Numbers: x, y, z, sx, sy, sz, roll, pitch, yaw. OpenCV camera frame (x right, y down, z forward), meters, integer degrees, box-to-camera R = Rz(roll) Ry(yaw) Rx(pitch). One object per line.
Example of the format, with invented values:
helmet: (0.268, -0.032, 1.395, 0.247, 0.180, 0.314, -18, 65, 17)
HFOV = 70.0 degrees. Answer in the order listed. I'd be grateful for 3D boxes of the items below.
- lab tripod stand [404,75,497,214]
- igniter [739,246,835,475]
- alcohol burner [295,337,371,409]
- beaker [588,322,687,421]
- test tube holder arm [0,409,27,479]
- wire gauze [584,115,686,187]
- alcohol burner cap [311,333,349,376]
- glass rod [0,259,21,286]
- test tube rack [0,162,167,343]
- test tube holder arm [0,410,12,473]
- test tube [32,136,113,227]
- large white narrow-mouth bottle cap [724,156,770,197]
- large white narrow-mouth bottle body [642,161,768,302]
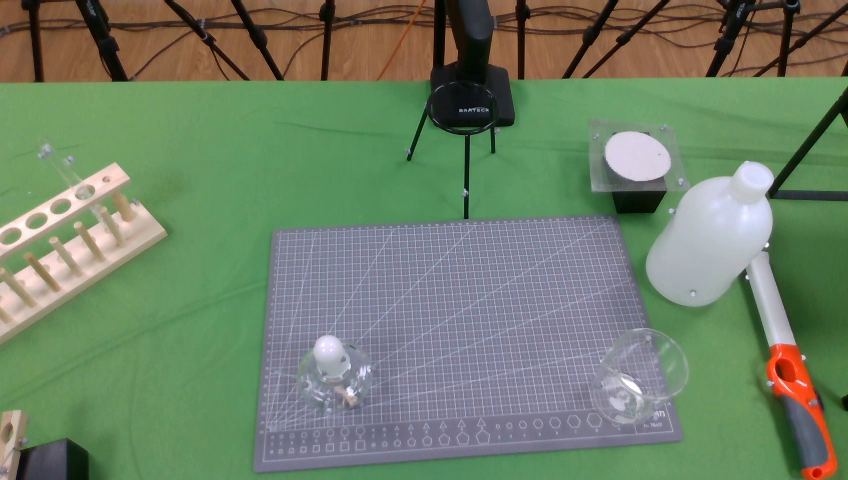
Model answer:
lab tripod stand: (0.043, -0.129, 0.779, 0.148, 0.132, 0.147, 2, 58, -3)
igniter: (0.408, 0.126, 0.692, 0.057, 0.025, 0.274, 7, 56, -10)
alcohol burner: (-0.093, 0.128, 0.616, 0.078, 0.120, 0.077, 2, 55, -3)
beaker: (0.213, 0.141, 0.628, 0.084, 0.101, 0.073, 2, 56, 0)
test tube holder arm: (-0.374, 0.240, 0.536, 0.013, 0.015, 0.176, -11, 62, 0)
wire gauze: (0.273, -0.116, 0.797, 0.121, 0.011, 0.124, 4, 57, 0)
alcohol burner cap: (-0.093, 0.108, 0.585, 0.034, 0.048, 0.033, -2, 57, 3)
glass rod: (-0.463, -0.009, 0.630, 0.008, 0.201, 0.008, 3, 48, -3)
test tube rack: (-0.431, 0.019, 0.692, 0.242, 0.086, 0.066, -39, 66, -24)
test tube holder arm: (-0.387, 0.202, 0.557, 0.010, 0.015, 0.087, -10, 62, 0)
test tube: (-0.394, -0.062, 0.687, 0.017, 0.151, 0.017, -1, 56, 3)
large white narrow-mouth bottle cap: (0.324, -0.064, 0.609, 0.038, 0.024, 0.037, 1, 57, -1)
large white narrow-mouth bottle body: (0.322, -0.015, 0.680, 0.102, 0.196, 0.101, 1, 56, -1)
